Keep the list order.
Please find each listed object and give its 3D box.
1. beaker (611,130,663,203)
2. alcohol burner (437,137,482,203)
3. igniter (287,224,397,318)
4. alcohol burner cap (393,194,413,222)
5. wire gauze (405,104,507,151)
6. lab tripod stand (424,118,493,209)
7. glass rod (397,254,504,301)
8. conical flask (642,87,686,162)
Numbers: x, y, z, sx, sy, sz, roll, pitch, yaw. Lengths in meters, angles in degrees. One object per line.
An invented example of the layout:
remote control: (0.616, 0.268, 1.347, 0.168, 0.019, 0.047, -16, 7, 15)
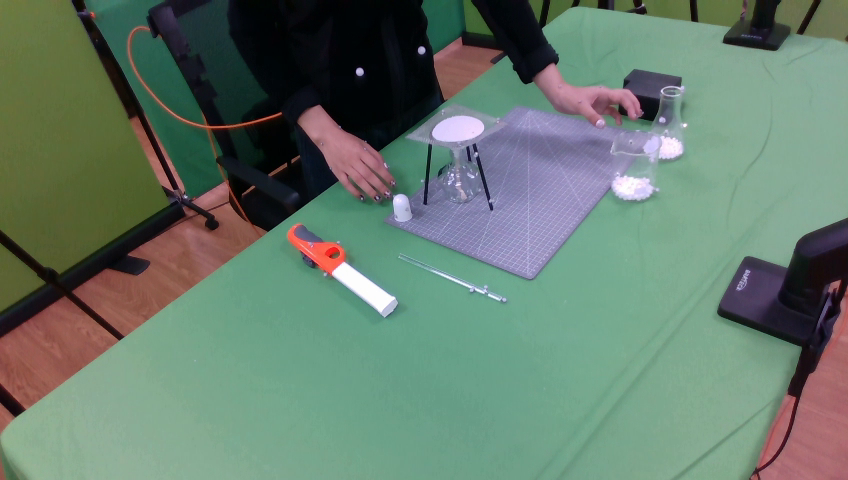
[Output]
beaker: (0.346, -0.118, 0.998, 0.084, 0.101, 0.073, -17, 40, -7)
alcohol burner: (0.060, -0.125, 1.045, 0.078, 0.119, 0.077, -5, 39, 4)
igniter: (-0.139, 0.042, 0.957, 0.057, 0.025, 0.274, -41, 49, -18)
alcohol burner cap: (-0.039, -0.057, 1.038, 0.034, 0.048, 0.033, -5, 40, 5)
wire gauze: (0.053, -0.184, 0.996, 0.120, 0.011, 0.125, 26, 50, 37)
lab tripod stand: (0.061, -0.133, 1.038, 0.148, 0.132, 0.147, -6, 39, 6)
glass rod: (0.036, 0.054, 0.922, 0.198, 0.008, 0.008, 22, 50, 31)
conical flask: (0.429, -0.206, 1.067, 0.075, 0.122, 0.075, -6, 40, 5)
